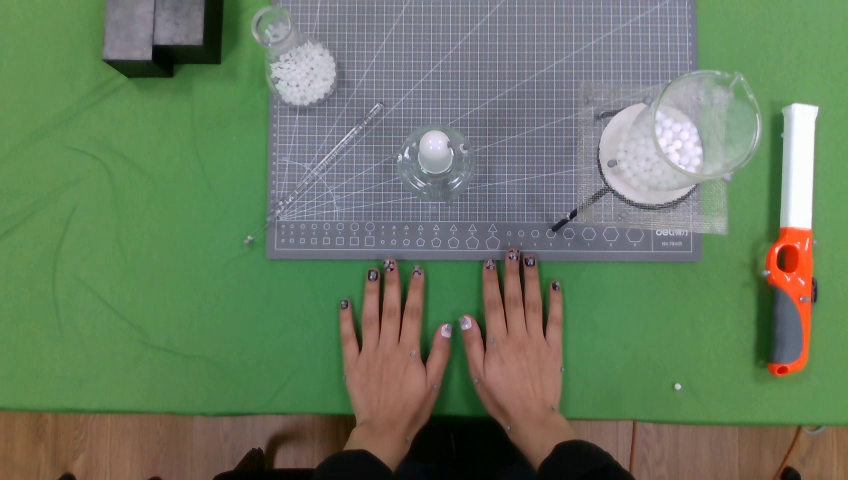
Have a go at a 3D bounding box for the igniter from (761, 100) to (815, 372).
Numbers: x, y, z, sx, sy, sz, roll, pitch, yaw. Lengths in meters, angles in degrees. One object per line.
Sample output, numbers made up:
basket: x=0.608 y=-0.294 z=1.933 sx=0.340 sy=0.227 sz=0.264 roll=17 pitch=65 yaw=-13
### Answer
igniter: x=0.372 y=-0.004 z=0.616 sx=0.057 sy=0.025 sz=0.276 roll=5 pitch=87 yaw=-10

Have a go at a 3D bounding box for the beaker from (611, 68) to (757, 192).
beaker: x=0.188 y=-0.078 z=0.453 sx=0.074 sy=0.100 sz=0.084 roll=36 pitch=88 yaw=2

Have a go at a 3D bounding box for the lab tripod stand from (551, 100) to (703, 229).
lab tripod stand: x=0.186 y=-0.064 z=0.566 sx=0.148 sy=0.131 sz=0.148 roll=0 pitch=88 yaw=1

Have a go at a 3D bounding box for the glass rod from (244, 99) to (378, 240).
glass rod: x=-0.117 y=-0.074 z=0.630 sx=0.008 sy=0.008 sz=0.199 roll=43 pitch=88 yaw=3

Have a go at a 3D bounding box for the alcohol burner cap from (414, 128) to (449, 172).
alcohol burner cap: x=0.007 y=-0.083 z=0.542 sx=0.034 sy=0.048 sz=0.033 roll=0 pitch=80 yaw=0

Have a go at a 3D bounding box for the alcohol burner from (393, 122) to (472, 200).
alcohol burner: x=0.008 y=-0.079 z=0.578 sx=0.078 sy=0.119 sz=0.078 roll=0 pitch=86 yaw=3

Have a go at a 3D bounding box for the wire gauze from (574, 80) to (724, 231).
wire gauze: x=0.186 y=-0.071 z=0.501 sx=0.125 sy=0.011 sz=0.121 roll=3 pitch=89 yaw=-1

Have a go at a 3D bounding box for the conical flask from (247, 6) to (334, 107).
conical flask: x=-0.133 y=-0.180 z=0.581 sx=0.075 sy=0.122 sz=0.075 roll=0 pitch=86 yaw=1
